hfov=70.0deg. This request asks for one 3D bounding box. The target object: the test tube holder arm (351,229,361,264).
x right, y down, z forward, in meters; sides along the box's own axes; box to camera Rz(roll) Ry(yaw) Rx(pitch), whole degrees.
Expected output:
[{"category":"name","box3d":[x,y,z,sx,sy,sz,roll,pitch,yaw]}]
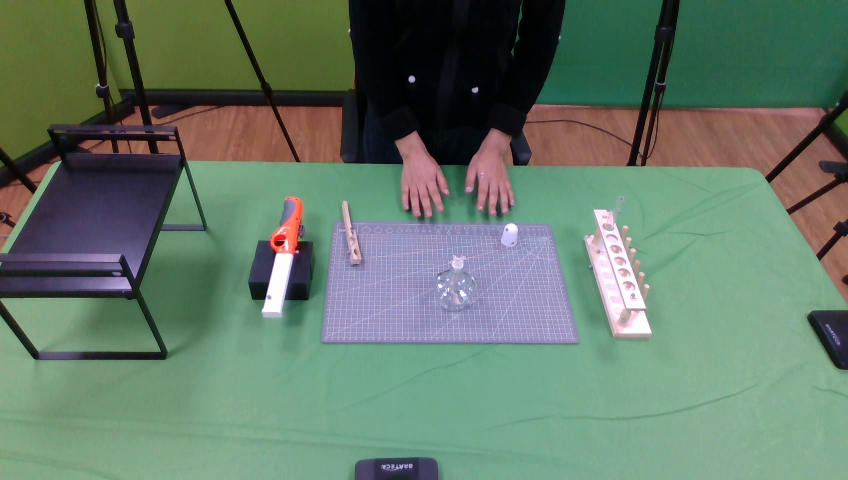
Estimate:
[{"category":"test tube holder arm","box3d":[-0.135,0.012,1.175,0.010,0.015,0.087,10,39,-26]}]

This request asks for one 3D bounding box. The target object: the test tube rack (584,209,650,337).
[{"category":"test tube rack","box3d":[0.365,0.056,1.129,0.067,0.085,0.240,1,46,-4]}]

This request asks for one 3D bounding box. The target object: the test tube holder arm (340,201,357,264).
[{"category":"test tube holder arm","box3d":[-0.151,-0.019,1.204,0.013,0.015,0.177,10,39,-27]}]

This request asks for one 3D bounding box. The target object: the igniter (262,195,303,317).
[{"category":"igniter","box3d":[-0.253,0.020,1.090,0.057,0.025,0.275,0,49,-1]}]

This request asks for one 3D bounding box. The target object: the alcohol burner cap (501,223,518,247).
[{"category":"alcohol burner cap","box3d":[0.172,-0.013,1.206,0.034,0.048,0.033,1,46,-1]}]

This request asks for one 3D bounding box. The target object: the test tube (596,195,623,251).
[{"category":"test tube","box3d":[0.347,-0.029,1.140,0.017,0.151,0.017,1,52,-1]}]

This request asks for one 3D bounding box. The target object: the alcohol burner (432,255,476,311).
[{"category":"alcohol burner","box3d":[0.055,0.070,1.068,0.078,0.119,0.077,3,45,-3]}]
